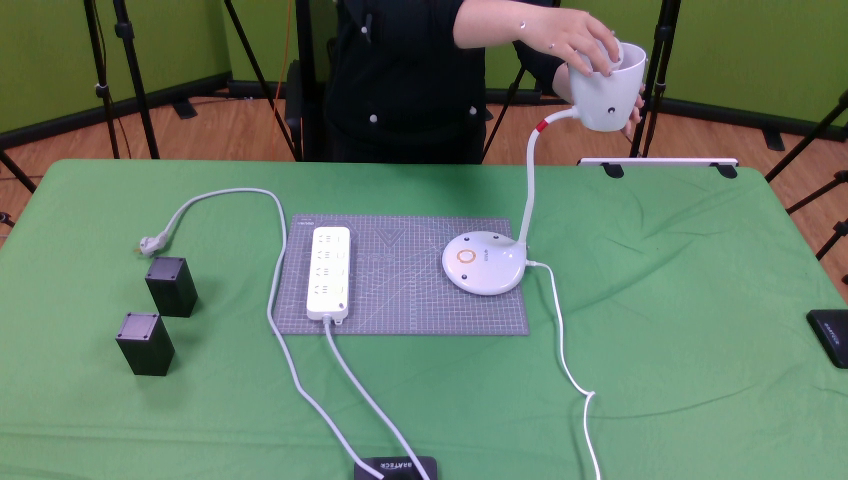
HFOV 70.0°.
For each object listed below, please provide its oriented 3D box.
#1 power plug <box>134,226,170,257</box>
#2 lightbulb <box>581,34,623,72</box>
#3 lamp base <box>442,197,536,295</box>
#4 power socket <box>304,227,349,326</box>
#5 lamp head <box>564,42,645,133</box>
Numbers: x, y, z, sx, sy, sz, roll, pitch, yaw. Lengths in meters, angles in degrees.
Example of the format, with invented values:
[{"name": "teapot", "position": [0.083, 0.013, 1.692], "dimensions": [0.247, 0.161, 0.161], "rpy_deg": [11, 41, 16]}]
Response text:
[{"name": "power plug", "position": [-0.515, 0.006, 1.153], "dimensions": [0.052, 0.035, 0.072], "rpy_deg": [-6, 24, 6]}, {"name": "lightbulb", "position": [0.269, -0.253, 0.910], "dimensions": [0.059, 0.108, 0.059], "rpy_deg": [-12, 33, 8]}, {"name": "lamp base", "position": [0.130, -0.012, 1.105], "dimensions": [0.179, 0.181, 0.159], "rpy_deg": [-1, 46, -9]}, {"name": "power socket", "position": [-0.177, 0.059, 1.115], "dimensions": [0.072, 0.033, 0.225], "rpy_deg": [-1, 46, -4]}, {"name": "lamp head", "position": [0.272, -0.227, 0.928], "dimensions": [0.112, 0.123, 0.111], "rpy_deg": [-3, 39, 3]}]
